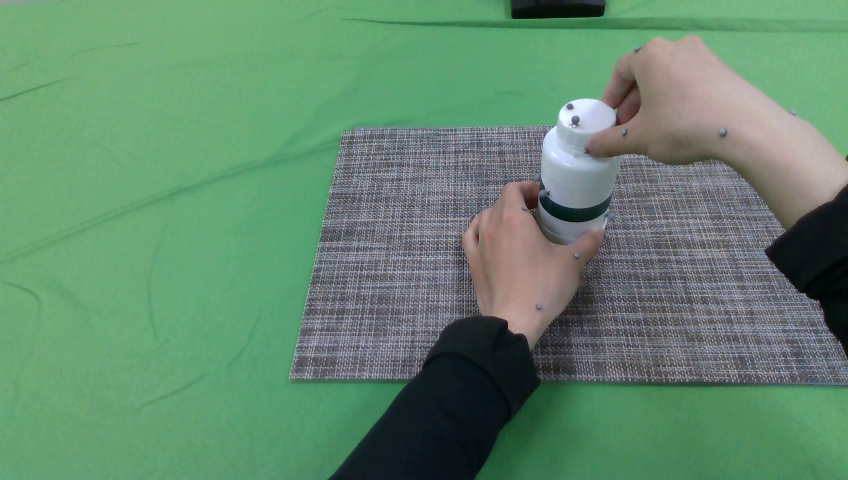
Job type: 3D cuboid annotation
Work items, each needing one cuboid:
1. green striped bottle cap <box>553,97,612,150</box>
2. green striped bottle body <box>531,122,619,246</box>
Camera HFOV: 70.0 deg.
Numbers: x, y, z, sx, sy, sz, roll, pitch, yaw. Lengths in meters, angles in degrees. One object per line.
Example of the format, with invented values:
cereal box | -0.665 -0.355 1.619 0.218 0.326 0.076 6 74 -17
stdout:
green striped bottle cap | 0.122 -0.090 0.468 0.044 0.020 0.044 -2 49 3
green striped bottle body | 0.126 -0.055 0.509 0.063 0.120 0.062 -2 50 3
